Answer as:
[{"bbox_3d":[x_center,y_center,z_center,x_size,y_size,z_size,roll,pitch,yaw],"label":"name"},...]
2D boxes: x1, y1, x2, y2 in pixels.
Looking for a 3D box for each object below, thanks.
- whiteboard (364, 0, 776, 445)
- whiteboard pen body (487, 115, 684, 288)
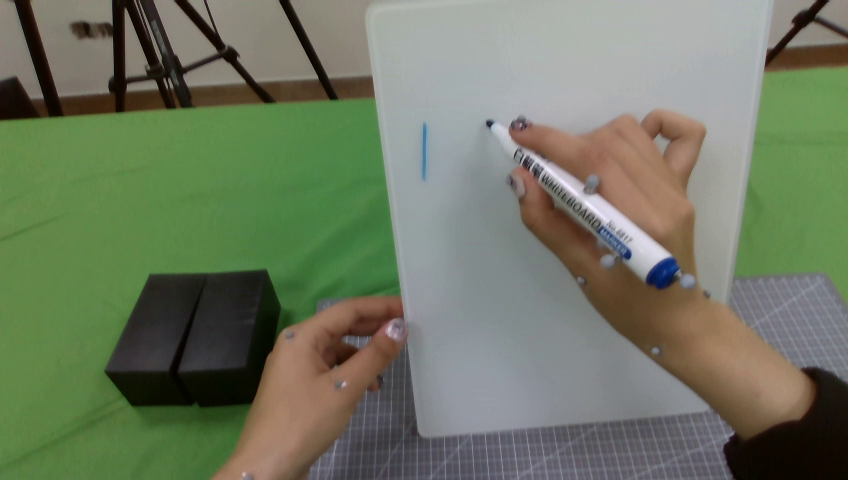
[{"bbox_3d":[0.089,-0.027,0.435,0.217,0.307,0.142,-5,26,1],"label":"whiteboard"},{"bbox_3d":[0.070,-0.026,0.295,0.017,0.017,0.139,-24,49,-18],"label":"whiteboard pen body"}]
